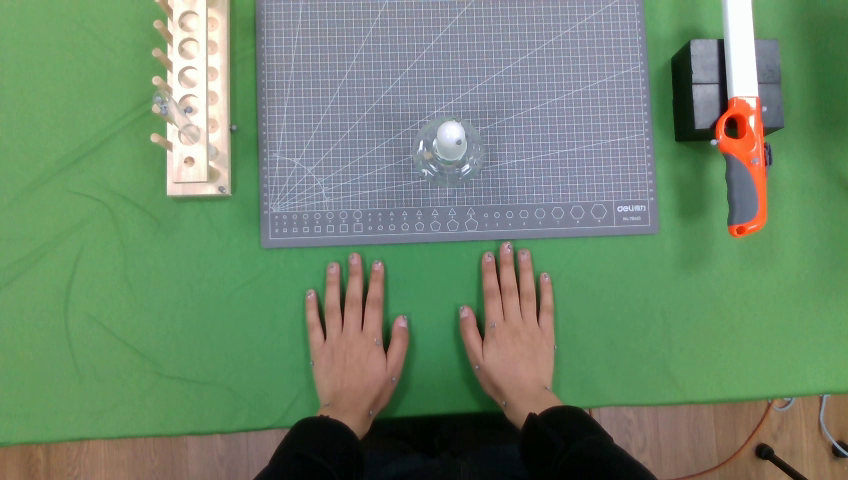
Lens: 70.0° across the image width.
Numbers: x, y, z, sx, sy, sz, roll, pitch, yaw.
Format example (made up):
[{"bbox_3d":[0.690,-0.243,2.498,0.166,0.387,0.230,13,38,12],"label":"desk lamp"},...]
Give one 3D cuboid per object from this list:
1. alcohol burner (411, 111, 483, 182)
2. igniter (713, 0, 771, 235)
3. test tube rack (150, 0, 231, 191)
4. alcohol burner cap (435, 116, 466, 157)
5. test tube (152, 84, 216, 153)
[{"bbox_3d":[0.025,-0.101,0.634,0.078,0.119,0.078,0,87,-1],"label":"alcohol burner"},{"bbox_3d":[0.338,-0.143,0.648,0.057,0.025,0.276,1,84,1],"label":"igniter"},{"bbox_3d":[-0.252,-0.179,0.646,0.067,0.085,0.242,-2,86,-2],"label":"test tube rack"},{"bbox_3d":[0.026,-0.105,0.598,0.034,0.048,0.033,0,80,1],"label":"alcohol burner cap"},{"bbox_3d":[-0.230,-0.115,0.593,0.017,0.150,0.017,1,80,-3],"label":"test tube"}]
